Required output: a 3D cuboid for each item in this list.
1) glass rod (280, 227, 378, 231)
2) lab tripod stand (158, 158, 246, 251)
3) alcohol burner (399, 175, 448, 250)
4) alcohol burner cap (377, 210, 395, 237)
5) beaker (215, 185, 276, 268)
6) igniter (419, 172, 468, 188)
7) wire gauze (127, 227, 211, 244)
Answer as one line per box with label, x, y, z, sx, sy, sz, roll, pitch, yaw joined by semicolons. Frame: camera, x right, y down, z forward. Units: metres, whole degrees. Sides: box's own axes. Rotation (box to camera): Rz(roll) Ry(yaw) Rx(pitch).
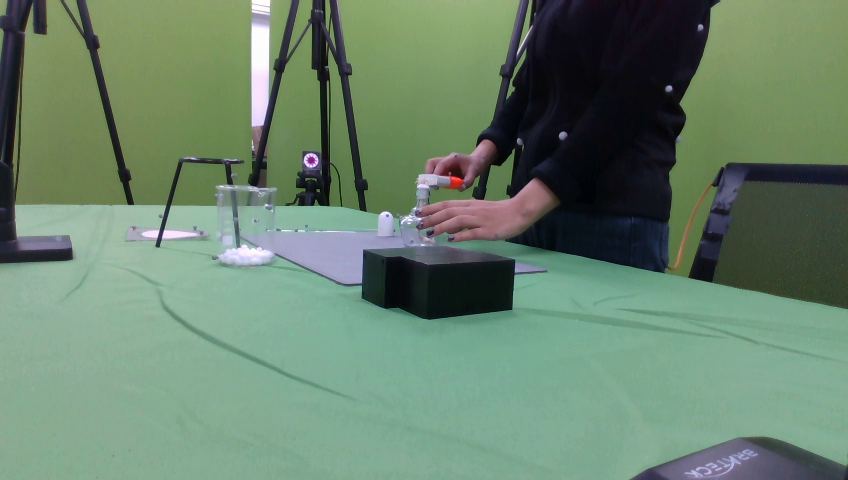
glass rod;-0.175;-0.021;1.161;0.200;0.008;0.008;0;7;-15
lab tripod stand;-0.314;-0.055;0.891;0.148;0.131;0.148;2;9;0
alcohol burner;-0.001;-0.044;0.961;0.078;0.119;0.078;0;8;0
alcohol burner cap;-0.069;-0.031;1.112;0.034;0.048;0.034;2;8;0
beaker;-0.226;-0.019;0.773;0.074;0.100;0.084;5;7;14
igniter;0.039;-0.110;1.105;0.057;0.025;0.277;3;4;13
wire gauze;-0.420;-0.010;0.999;0.122;0.011;0.124;-2;10;-24
